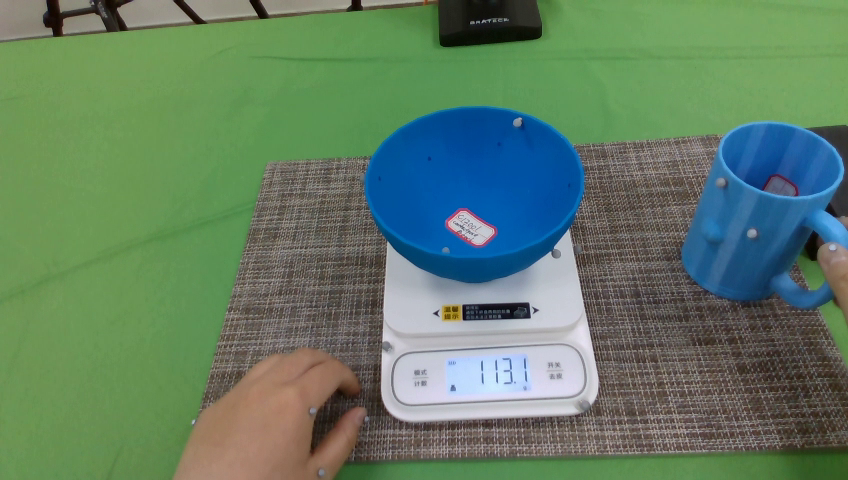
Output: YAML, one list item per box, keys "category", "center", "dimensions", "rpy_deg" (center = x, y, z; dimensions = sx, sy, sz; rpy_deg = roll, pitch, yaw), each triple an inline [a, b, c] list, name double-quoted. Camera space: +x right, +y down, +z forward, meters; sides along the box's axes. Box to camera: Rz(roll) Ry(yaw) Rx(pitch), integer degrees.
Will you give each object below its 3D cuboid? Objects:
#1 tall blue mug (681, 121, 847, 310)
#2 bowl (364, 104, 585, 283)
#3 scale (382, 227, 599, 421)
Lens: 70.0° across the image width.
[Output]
- category: "tall blue mug"
  center: [0.248, -0.011, 0.426]
  dimensions: [0.106, 0.109, 0.077]
  rpy_deg: [30, 58, 28]
- category: "bowl"
  center: [0.036, -0.021, 0.440]
  dimensions: [0.151, 0.077, 0.150]
  rpy_deg: [-3, 50, 3]
- category: "scale"
  center: [0.044, 0.036, 0.460]
  dimensions: [0.148, 0.032, 0.199]
  rpy_deg: [-3, 50, 4]
